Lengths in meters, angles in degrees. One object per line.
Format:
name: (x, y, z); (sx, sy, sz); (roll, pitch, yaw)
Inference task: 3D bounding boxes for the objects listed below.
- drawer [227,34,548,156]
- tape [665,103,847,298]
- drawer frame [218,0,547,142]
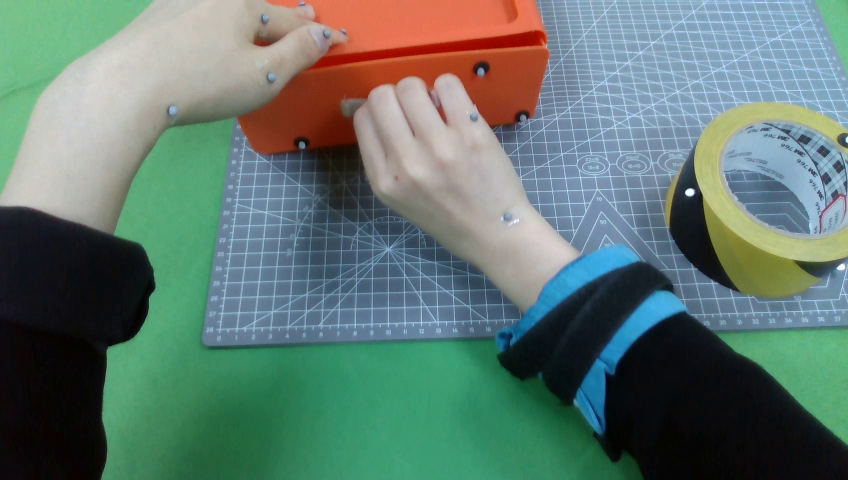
drawer: (-0.034, -0.172, 0.433); (0.195, 0.074, 0.210); (-8, 62, -3)
tape: (0.212, -0.024, 0.371); (0.117, 0.053, 0.116); (0, 63, 1)
drawer frame: (-0.038, -0.183, 0.437); (0.202, 0.083, 0.211); (-9, 63, -4)
